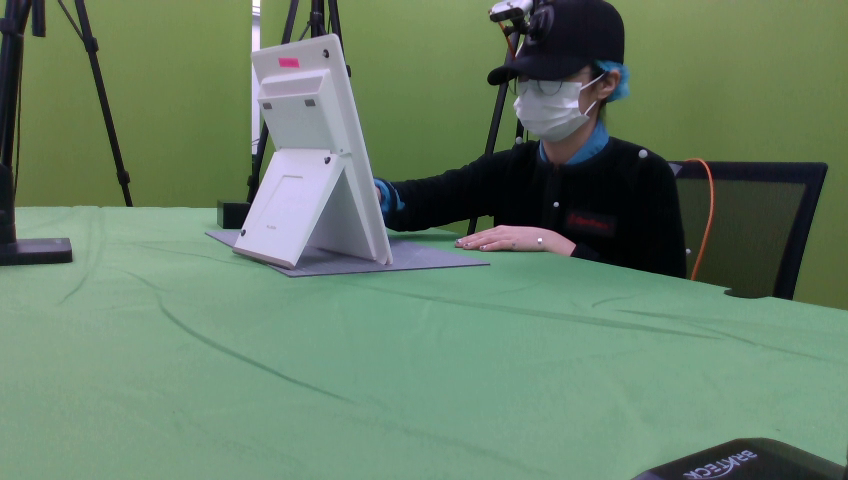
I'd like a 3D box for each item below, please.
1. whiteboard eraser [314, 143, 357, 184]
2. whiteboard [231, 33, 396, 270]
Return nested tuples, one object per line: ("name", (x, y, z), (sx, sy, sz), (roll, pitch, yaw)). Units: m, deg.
("whiteboard eraser", (-0.125, -0.106, 0.845), (0.019, 0.041, 0.101), (-26, 6, -34))
("whiteboard", (-0.193, -0.094, 0.805), (0.144, 0.305, 0.216), (-29, 25, -35))
